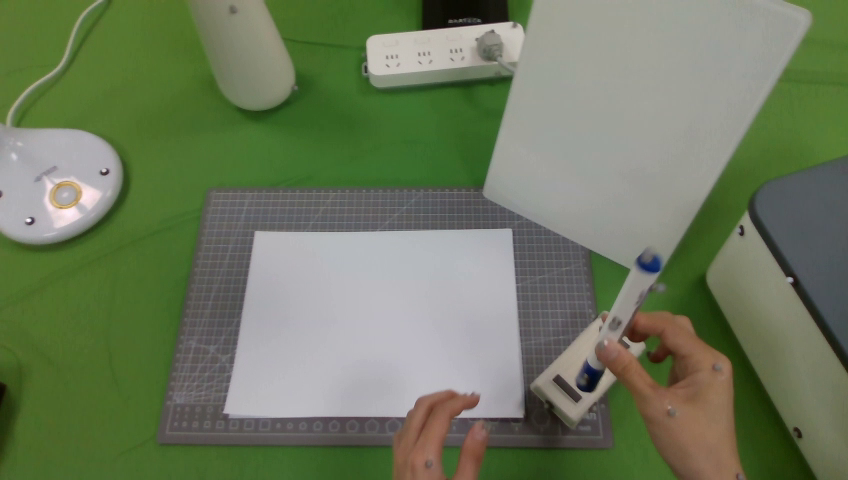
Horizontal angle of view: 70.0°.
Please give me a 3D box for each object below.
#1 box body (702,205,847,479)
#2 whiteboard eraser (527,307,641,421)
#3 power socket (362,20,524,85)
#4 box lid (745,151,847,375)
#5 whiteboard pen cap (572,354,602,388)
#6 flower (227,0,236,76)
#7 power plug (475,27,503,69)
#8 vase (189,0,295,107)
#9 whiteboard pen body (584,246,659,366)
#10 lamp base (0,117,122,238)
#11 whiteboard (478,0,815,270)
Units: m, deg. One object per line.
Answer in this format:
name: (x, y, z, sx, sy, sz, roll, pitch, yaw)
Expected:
box body: (0.455, 0.106, 0.538, 0.254, 0.161, 0.360, -17, 64, -7)
whiteboard eraser: (0.159, 0.122, 0.603, 0.112, 0.042, 0.055, -41, 68, -17)
power socket: (0.029, -0.248, 0.801, 0.227, 0.033, 0.071, -5, 64, -1)
box lid: (0.452, 0.069, 0.472, 0.263, 0.015, 0.368, -17, 64, -6)
whiteboard pen cap: (0.123, 0.096, 0.456, 0.018, 0.033, 0.018, 3, 45, -3)
flower: (-0.203, -0.280, 0.640, 0.044, 0.362, 0.038, -40, 85, -26)
power plug: (0.082, -0.236, 0.768, 0.035, 0.053, 0.072, 5, 70, 4)
vase: (-0.220, -0.251, 0.717, 0.098, 0.201, 0.097, -1, 63, 3)
whiteboard pen body: (0.128, 0.056, 0.412, 0.017, 0.142, 0.017, 4, 46, -3)
lamp base: (-0.461, -0.115, 0.667, 0.178, 0.182, 0.160, 30, 68, 19)
whiteboard: (0.214, -0.148, 0.627, 0.216, 0.308, 0.143, 29, 47, 16)
